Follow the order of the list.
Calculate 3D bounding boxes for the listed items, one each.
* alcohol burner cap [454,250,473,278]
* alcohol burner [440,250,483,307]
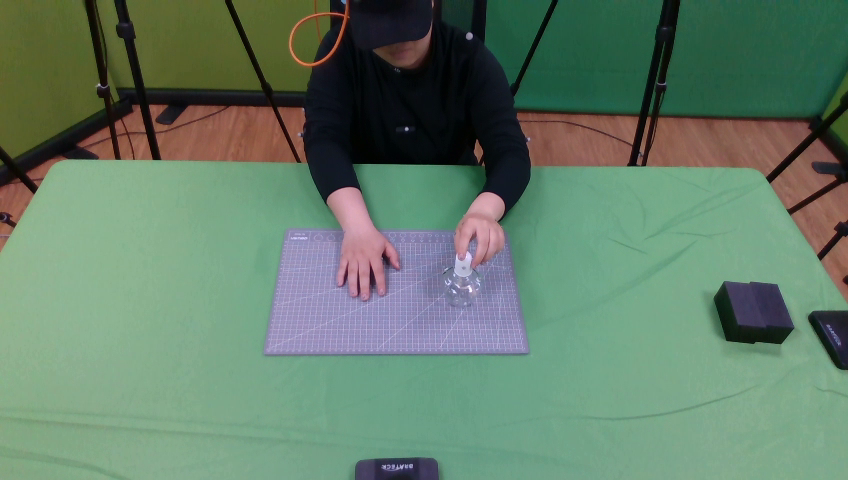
[{"bbox_3d":[0.068,0.039,1.050,0.034,0.048,0.033,-3,46,3],"label":"alcohol burner cap"},{"bbox_3d":[0.068,0.064,1.076,0.078,0.120,0.077,1,45,-1],"label":"alcohol burner"}]
